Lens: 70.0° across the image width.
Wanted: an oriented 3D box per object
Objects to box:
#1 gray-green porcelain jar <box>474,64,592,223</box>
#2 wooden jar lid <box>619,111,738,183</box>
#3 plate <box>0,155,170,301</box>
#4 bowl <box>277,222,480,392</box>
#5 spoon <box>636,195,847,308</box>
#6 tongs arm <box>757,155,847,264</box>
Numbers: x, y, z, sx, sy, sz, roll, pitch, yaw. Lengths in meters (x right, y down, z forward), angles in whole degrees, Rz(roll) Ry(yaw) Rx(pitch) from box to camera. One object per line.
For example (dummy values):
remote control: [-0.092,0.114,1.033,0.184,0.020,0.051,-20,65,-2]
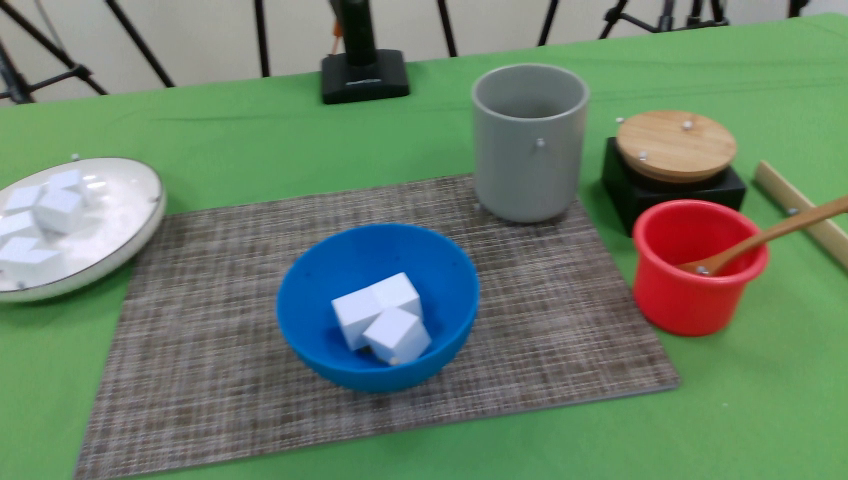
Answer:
gray-green porcelain jar: [0.102,-0.089,0.588,0.106,0.128,0.105,-3,43,3]
wooden jar lid: [0.244,-0.090,0.587,0.108,0.021,0.107,-3,42,3]
plate: [-0.361,-0.013,0.615,0.209,0.038,0.207,-3,43,3]
bowl: [-0.031,0.063,0.470,0.151,0.077,0.150,-2,42,2]
spoon: [0.252,0.006,0.464,0.022,0.194,0.041,37,39,-23]
tongs arm: [0.397,0.046,0.489,0.028,0.028,0.383,-9,43,-11]
